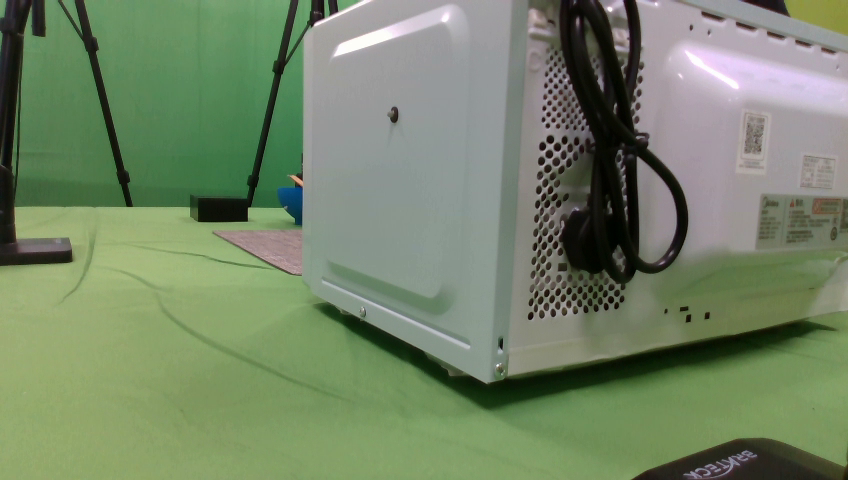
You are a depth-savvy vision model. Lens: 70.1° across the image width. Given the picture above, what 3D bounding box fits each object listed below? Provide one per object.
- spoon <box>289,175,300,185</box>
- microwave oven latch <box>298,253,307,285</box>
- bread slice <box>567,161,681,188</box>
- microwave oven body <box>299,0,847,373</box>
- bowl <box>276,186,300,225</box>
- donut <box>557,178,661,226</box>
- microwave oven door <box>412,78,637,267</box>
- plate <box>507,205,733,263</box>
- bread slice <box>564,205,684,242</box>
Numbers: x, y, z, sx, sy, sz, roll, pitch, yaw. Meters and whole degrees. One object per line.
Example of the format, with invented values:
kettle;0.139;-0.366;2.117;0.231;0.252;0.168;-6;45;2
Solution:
spoon;-0.261;-0.111;1.343;0.042;0.021;0.192;-8;33;-30
microwave oven latch;-0.081;0.027;0.582;0.079;0.029;0.030;-1;7;-32
bread slice;0.188;-0.062;0.569;0.105;0.019;0.132;5;5;14
microwave oven body;0.151;-0.055;0.542;0.444;0.260;0.324;-2;7;-33
bowl;-0.241;-0.073;1.302;0.151;0.077;0.151;2;7;0
donut;0.178;-0.036;0.585;0.099;0.048;0.099;1;4;0
microwave oven door;0.127;-0.104;0.888;0.354;0.243;0.039;8;10;40
plate;0.184;-0.007;0.589;0.208;0.039;0.207;2;7;0
bread slice;0.190;-0.016;0.570;0.107;0.018;0.134;-5;7;11
